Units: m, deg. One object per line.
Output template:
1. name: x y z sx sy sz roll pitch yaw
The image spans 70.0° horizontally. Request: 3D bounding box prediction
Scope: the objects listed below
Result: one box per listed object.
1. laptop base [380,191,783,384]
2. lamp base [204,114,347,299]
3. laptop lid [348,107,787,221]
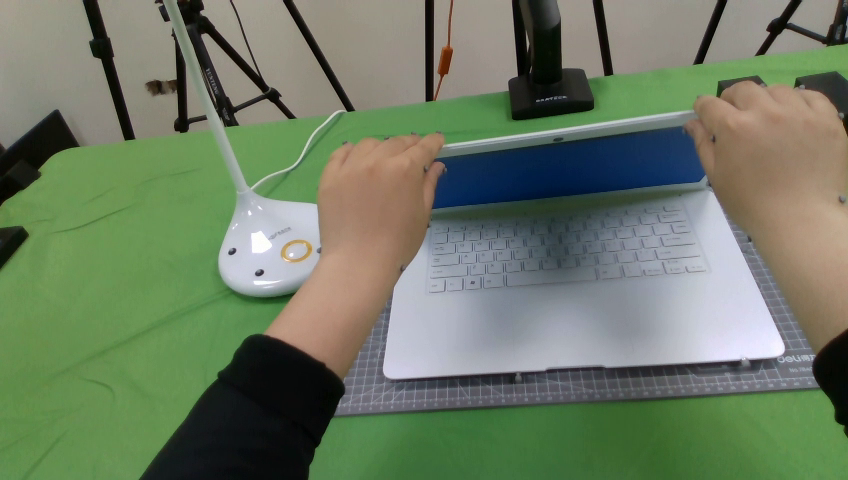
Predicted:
1. laptop base: 0.139 0.044 0.623 0.354 0.023 0.233 -5 43 8
2. lamp base: -0.194 -0.050 0.694 0.177 0.182 0.160 23 51 39
3. laptop lid: 0.125 -0.063 0.594 0.356 0.243 0.013 -6 78 10
